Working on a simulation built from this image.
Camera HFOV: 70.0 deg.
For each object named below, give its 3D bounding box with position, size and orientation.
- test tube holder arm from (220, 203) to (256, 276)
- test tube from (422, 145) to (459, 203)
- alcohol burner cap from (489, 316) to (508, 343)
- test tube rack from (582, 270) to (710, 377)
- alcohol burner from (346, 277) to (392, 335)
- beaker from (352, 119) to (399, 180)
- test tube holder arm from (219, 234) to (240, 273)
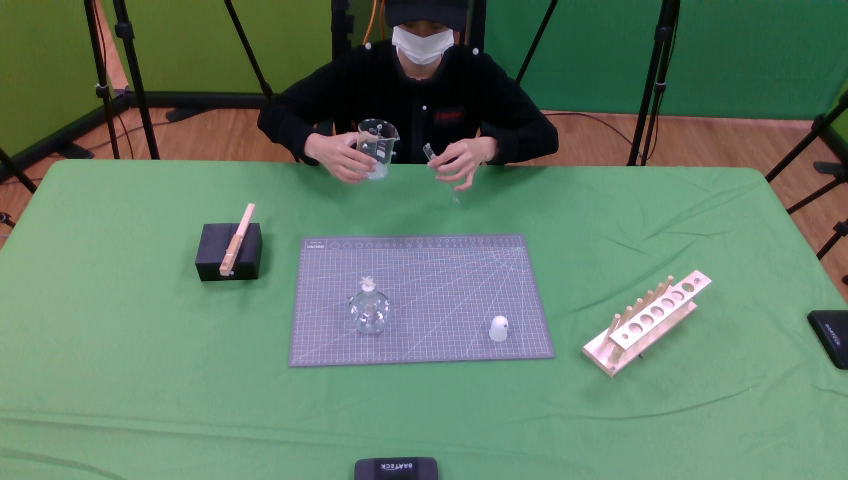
[{"bbox_3d":[-0.340,-0.005,1.112,0.015,0.013,0.177,5,46,2],"label":"test tube holder arm"},{"bbox_3d":[0.034,-0.128,1.197,0.017,0.151,0.017,-19,41,17],"label":"test tube"},{"bbox_3d":[0.130,0.151,1.045,0.034,0.048,0.033,2,46,-2],"label":"alcohol burner cap"},{"bbox_3d":[0.389,0.132,1.057,0.242,0.085,0.066,-28,53,-28],"label":"test tube rack"},{"bbox_3d":[-0.093,0.106,1.021,0.078,0.120,0.077,1,46,-1],"label":"alcohol burner"},{"bbox_3d":[-0.096,-0.172,1.173,0.084,0.100,0.073,18,40,3],"label":"beaker"},{"bbox_3d":[-0.344,0.023,1.076,0.015,0.010,0.087,5,45,2],"label":"test tube holder arm"}]
